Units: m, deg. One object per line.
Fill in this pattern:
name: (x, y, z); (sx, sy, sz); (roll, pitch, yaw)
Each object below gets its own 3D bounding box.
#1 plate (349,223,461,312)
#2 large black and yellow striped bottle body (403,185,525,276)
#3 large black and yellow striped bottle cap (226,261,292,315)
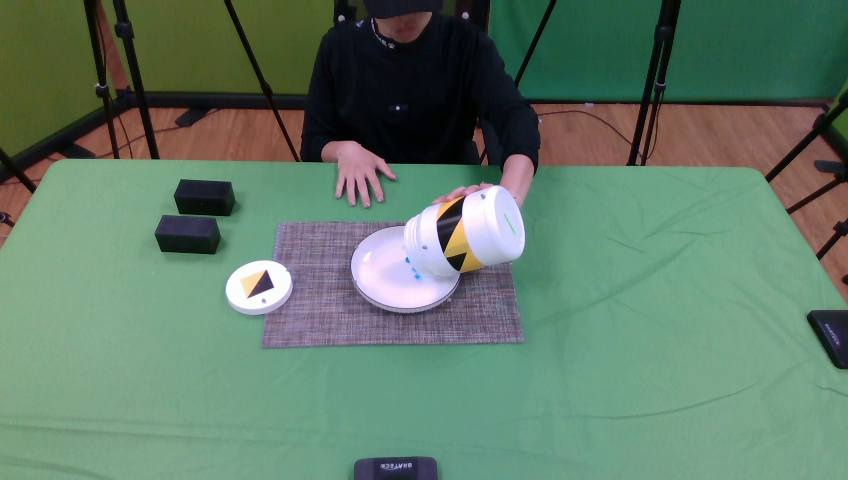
plate: (-0.035, 0.054, 1.126); (0.208, 0.039, 0.206); (2, 46, -2)
large black and yellow striped bottle body: (0.068, -0.010, 1.051); (0.184, 0.131, 0.130); (-16, 38, 30)
large black and yellow striped bottle cap: (-0.298, 0.085, 1.092); (0.115, 0.019, 0.114); (0, 45, 1)
